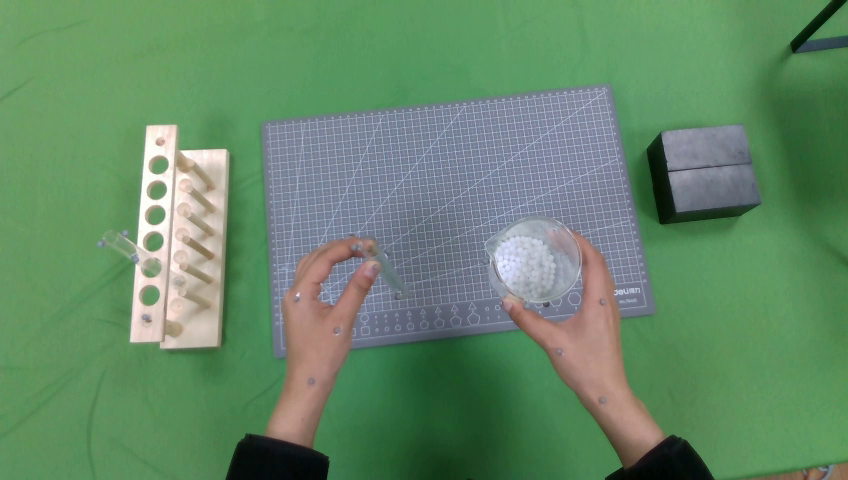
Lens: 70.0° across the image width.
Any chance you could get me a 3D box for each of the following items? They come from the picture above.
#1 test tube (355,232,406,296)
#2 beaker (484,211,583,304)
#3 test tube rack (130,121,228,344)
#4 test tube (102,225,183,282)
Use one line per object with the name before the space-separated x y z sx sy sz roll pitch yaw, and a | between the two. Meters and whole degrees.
test tube | -0.038 0.026 0.572 0.017 0.151 0.017 -3 68 9
beaker | 0.091 0.020 0.549 0.084 0.100 0.074 17 81 4
test tube rack | -0.275 -0.007 0.694 0.067 0.085 0.241 -2 77 0
test tube | -0.291 0.018 0.638 0.017 0.151 0.017 -1 70 3
